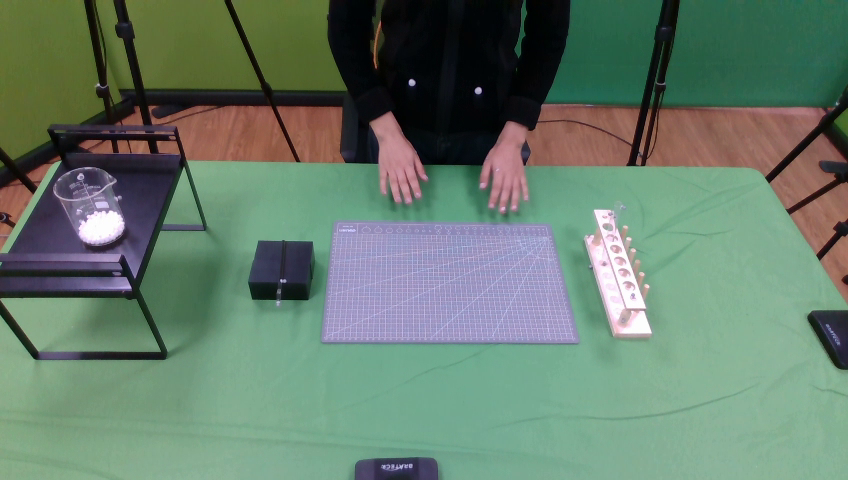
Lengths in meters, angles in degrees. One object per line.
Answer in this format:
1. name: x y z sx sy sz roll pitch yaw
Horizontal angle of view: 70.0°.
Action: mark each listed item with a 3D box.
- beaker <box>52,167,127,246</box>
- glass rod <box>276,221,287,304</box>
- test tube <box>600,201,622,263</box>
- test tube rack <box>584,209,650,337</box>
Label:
1. beaker: -0.490 -0.048 0.902 0.084 0.101 0.073 -15 49 -18
2. glass rod: -0.255 0.036 1.086 0.008 0.008 0.198 -2 46 -6
3. test tube: 0.346 -0.012 1.123 0.017 0.151 0.017 -2 44 2
4. test tube rack: 0.365 0.056 1.129 0.067 0.085 0.240 1 46 -4
